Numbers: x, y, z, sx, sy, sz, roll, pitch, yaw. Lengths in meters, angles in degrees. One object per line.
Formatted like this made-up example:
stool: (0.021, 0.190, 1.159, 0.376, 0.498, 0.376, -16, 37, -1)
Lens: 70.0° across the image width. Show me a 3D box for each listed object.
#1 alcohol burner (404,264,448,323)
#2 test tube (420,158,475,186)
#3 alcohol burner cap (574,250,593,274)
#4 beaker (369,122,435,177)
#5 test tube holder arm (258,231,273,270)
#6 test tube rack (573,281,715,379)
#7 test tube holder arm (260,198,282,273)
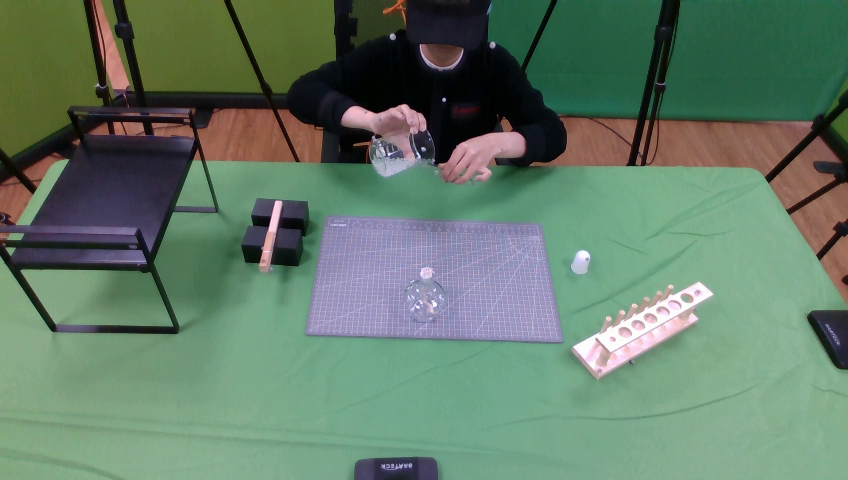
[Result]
alcohol burner: (0.003, 0.087, 1.042, 0.078, 0.120, 0.077, 1, 45, 0)
test tube: (0.049, -0.131, 1.180, 0.151, 0.017, 0.017, 16, 31, -45)
alcohol burner cap: (0.308, 0.039, 1.163, 0.034, 0.048, 0.033, 1, 46, -1)
beaker: (-0.041, -0.157, 1.085, 0.100, 0.084, 0.073, -24, 43, -24)
test tube holder arm: (-0.282, 0.017, 1.086, 0.015, 0.010, 0.087, -3, 47, 3)
test tube rack: (0.378, 0.140, 1.038, 0.242, 0.085, 0.066, -22, 51, -23)
test tube holder arm: (-0.282, -0.012, 1.120, 0.015, 0.013, 0.177, -3, 48, 3)
